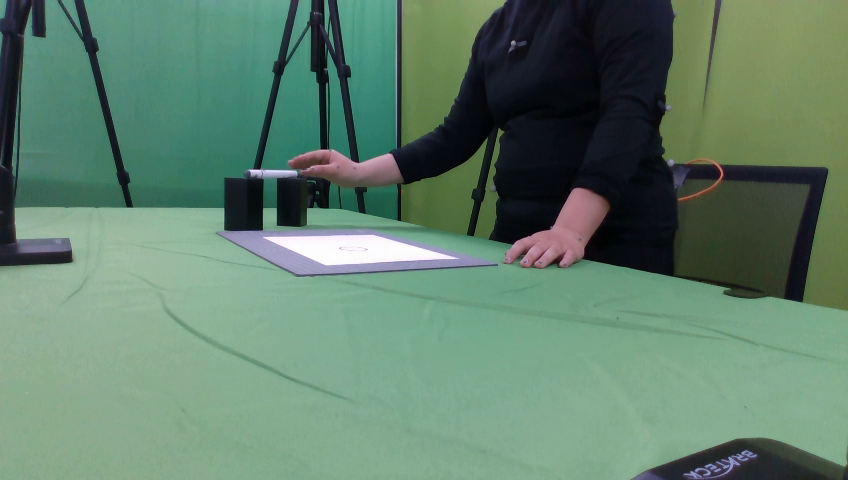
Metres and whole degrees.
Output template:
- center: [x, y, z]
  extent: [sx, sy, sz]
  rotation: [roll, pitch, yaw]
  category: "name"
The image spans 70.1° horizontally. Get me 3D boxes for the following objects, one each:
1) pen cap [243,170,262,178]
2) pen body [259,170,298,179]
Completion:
- center: [-0.328, -0.126, 1.154]
  extent: [0.017, 0.017, 0.038]
  rotation: [6, 10, 22]
  category: "pen cap"
- center: [-0.301, -0.131, 1.211]
  extent: [0.017, 0.017, 0.144]
  rotation: [6, 8, 23]
  category: "pen body"
